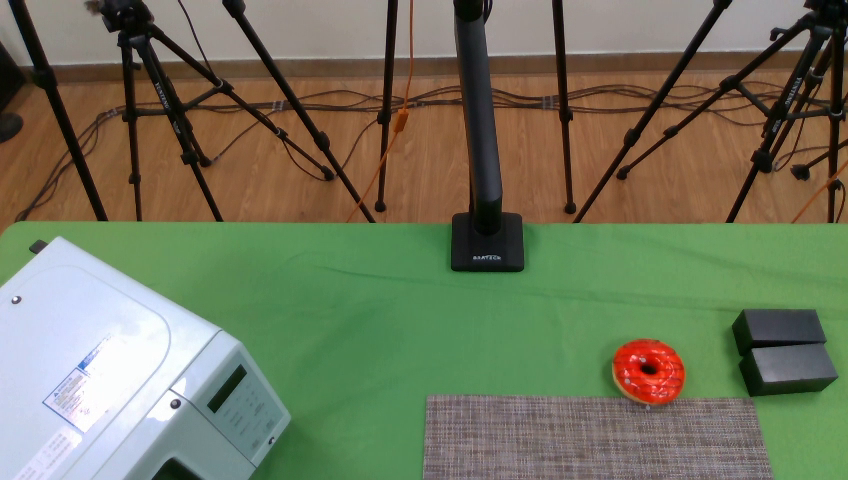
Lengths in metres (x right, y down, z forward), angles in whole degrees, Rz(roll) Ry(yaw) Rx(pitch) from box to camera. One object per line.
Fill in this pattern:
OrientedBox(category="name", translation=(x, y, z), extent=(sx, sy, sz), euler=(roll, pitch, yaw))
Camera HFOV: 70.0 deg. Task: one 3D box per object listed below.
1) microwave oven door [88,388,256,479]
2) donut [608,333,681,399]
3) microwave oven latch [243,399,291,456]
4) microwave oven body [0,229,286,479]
OrientedBox(category="microwave oven door", translation=(-0.333, 0.345, 0.629), extent=(0.039, 0.246, 0.354), euler=(24, 60, 20))
OrientedBox(category="donut", translation=(0.308, 0.176, 0.848), extent=(0.099, 0.049, 0.098), euler=(-4, 51, 5))
OrientedBox(category="microwave oven latch", translation=(-0.213, 0.248, 0.815), extent=(0.030, 0.030, 0.079), euler=(26, 61, 20))
OrientedBox(category="microwave oven body", translation=(-0.437, 0.262, 0.701), extent=(0.324, 0.262, 0.440), euler=(24, 61, 19))
